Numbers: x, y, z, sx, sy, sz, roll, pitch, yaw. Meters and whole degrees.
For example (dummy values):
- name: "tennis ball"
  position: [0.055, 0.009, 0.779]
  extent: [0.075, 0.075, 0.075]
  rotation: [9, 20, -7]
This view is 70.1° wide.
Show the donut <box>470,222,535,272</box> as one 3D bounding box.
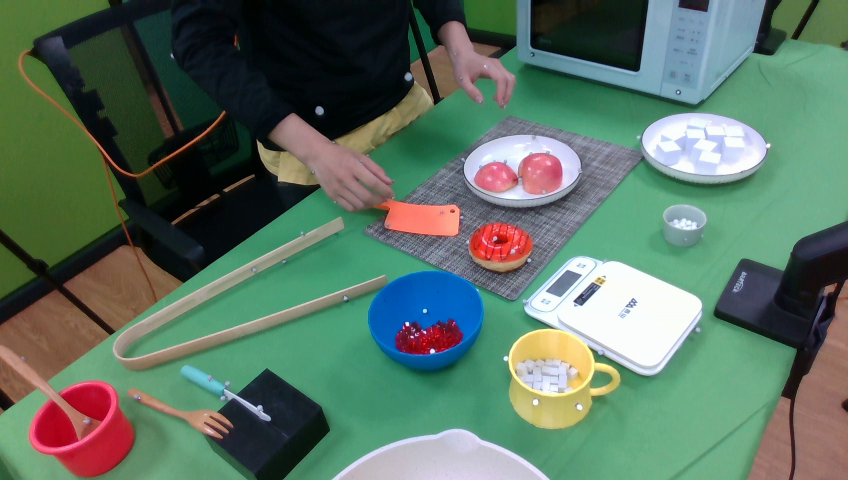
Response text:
- name: "donut"
  position: [0.119, 0.009, 0.923]
  extent: [0.099, 0.048, 0.098]
  rotation: [-4, 38, 3]

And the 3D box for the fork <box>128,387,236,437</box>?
- name: "fork"
  position: [-0.305, 0.207, 0.744]
  extent: [0.206, 0.019, 0.028]
  rotation: [3, 41, 36]

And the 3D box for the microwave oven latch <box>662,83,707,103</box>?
- name: "microwave oven latch"
  position: [0.517, -0.296, 1.204]
  extent: [0.078, 0.029, 0.030]
  rotation: [27, 52, 35]

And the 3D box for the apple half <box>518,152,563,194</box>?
- name: "apple half"
  position: [0.203, -0.123, 1.047]
  extent: [0.075, 0.053, 0.080]
  rotation: [-2, 41, 1]

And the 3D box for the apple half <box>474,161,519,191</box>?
- name: "apple half"
  position: [0.130, -0.119, 1.067]
  extent: [0.081, 0.033, 0.081]
  rotation: [-4, 36, 3]

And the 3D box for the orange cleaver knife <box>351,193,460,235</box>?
- name: "orange cleaver knife"
  position: [-0.036, -0.045, 1.029]
  extent: [0.210, 0.012, 0.077]
  rotation: [10, 49, 18]

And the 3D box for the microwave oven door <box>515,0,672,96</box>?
- name: "microwave oven door"
  position: [0.343, -0.454, 1.259]
  extent: [0.353, 0.245, 0.039]
  rotation: [26, 51, 33]

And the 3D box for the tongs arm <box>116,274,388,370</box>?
- name: "tongs arm"
  position: [-0.236, 0.115, 0.869]
  extent: [0.389, 0.028, 0.028]
  rotation: [-18, 49, -12]

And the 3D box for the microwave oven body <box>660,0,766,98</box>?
- name: "microwave oven body"
  position: [0.472, -0.513, 1.317]
  extent: [0.438, 0.261, 0.327]
  rotation: [26, 51, 34]

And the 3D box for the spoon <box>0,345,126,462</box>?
- name: "spoon"
  position: [-0.434, 0.192, 0.720]
  extent: [0.194, 0.021, 0.042]
  rotation: [47, 53, -6]

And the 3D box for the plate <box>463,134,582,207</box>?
- name: "plate"
  position: [0.173, -0.119, 1.070]
  extent: [0.209, 0.038, 0.208]
  rotation: [-4, 40, 4]

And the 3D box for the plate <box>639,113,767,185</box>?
- name: "plate"
  position: [0.489, -0.157, 1.074]
  extent: [0.207, 0.039, 0.206]
  rotation: [-4, 40, 4]

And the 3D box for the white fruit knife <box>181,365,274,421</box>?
- name: "white fruit knife"
  position: [-0.245, 0.187, 0.747]
  extent: [0.205, 0.027, 0.016]
  rotation: [9, 41, 40]

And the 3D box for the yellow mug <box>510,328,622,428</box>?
- name: "yellow mug"
  position: [0.169, 0.164, 0.721]
  extent: [0.130, 0.064, 0.099]
  rotation: [0, 40, 8]

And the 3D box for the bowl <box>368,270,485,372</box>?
- name: "bowl"
  position: [0.007, 0.118, 0.791]
  extent: [0.151, 0.077, 0.150]
  rotation: [-4, 40, 4]

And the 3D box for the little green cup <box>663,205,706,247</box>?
- name: "little green cup"
  position: [0.396, -0.020, 0.926]
  extent: [0.061, 0.039, 0.061]
  rotation: [-4, 40, 4]

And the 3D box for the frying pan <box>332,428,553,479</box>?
- name: "frying pan"
  position: [-0.089, 0.306, 0.564]
  extent: [0.487, 0.103, 0.306]
  rotation: [10, 41, 7]

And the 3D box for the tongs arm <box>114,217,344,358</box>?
- name: "tongs arm"
  position: [-0.280, 0.067, 0.927]
  extent: [0.386, 0.026, 0.050]
  rotation: [-29, 49, -23]

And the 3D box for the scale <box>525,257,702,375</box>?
- name: "scale"
  position: [0.254, 0.091, 0.821]
  extent: [0.199, 0.032, 0.149]
  rotation: [28, 51, 35]
